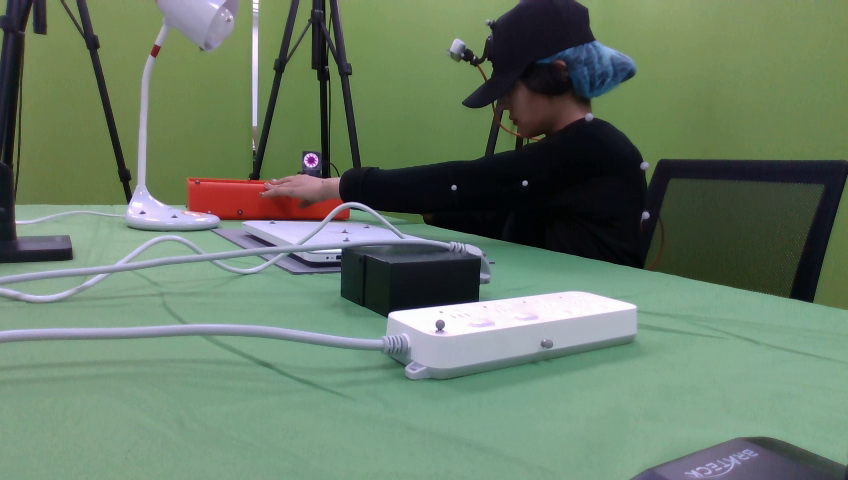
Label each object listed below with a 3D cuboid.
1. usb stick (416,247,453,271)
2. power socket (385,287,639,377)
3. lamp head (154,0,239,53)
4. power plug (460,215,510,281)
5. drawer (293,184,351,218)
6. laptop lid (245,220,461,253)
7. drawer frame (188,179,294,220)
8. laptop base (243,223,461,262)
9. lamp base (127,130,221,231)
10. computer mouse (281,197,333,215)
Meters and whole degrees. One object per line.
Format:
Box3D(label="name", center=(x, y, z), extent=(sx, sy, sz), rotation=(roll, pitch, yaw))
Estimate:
Box3D(label="usb stick", center=(0.009, 0.024, 0.755), extent=(0.027, 0.021, 0.059), rotation=(37, -17, -17))
Box3D(label="power socket", center=(0.074, 0.064, 0.461), extent=(0.228, 0.032, 0.072), rotation=(-3, 8, -34))
Box3D(label="lamp head", center=(-0.406, -0.402, 1.059), extent=(0.123, 0.112, 0.112), rotation=(25, 5, -6))
Box3D(label="power plug", center=(0.064, 0.011, 0.624), extent=(0.053, 0.072, 0.035), rotation=(-4, 40, -2))
Box3D(label="drawer", center=(-0.298, -0.093, 1.422), extent=(0.213, 0.073, 0.193), rotation=(-2, 9, -24))
Box3D(label="laptop lid", center=(-0.124, -0.009, 0.945), extent=(0.243, 0.013, 0.355), rotation=(1, 7, -29))
Box3D(label="drawer frame", center=(-0.416, -0.094, 1.368), extent=(0.214, 0.082, 0.201), rotation=(-2, 9, -23))
Box3D(label="laptop base", center=(-0.126, 0.003, 0.945), extent=(0.237, 0.023, 0.352), rotation=(2, 6, -31))
Box3D(label="lamp base", center=(-0.469, -0.112, 1.108), extent=(0.179, 0.180, 0.160), rotation=(0, 7, 3))
Box3D(label="computer mouse", center=(-0.274, -0.079, 1.417), extent=(0.118, 0.041, 0.062), rotation=(-4, 12, -22))
